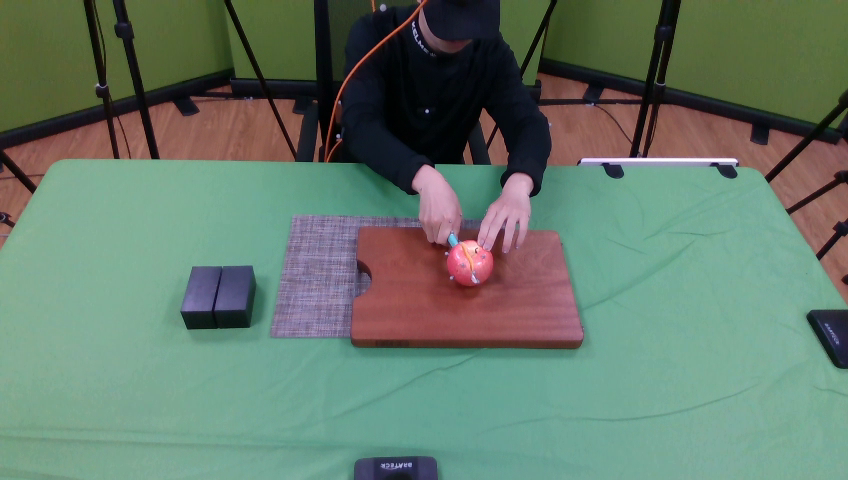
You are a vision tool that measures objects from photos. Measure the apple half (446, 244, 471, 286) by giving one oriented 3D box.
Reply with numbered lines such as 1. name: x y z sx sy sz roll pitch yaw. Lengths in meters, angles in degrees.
1. apple half: 0.057 0.051 1.082 0.033 0.082 0.080 -14 48 -14

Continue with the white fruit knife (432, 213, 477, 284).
1. white fruit knife: 0.056 0.012 1.112 0.016 0.027 0.206 -10 41 -18

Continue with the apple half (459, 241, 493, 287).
1. apple half: 0.095 0.042 1.093 0.053 0.075 0.080 -8 43 -18
